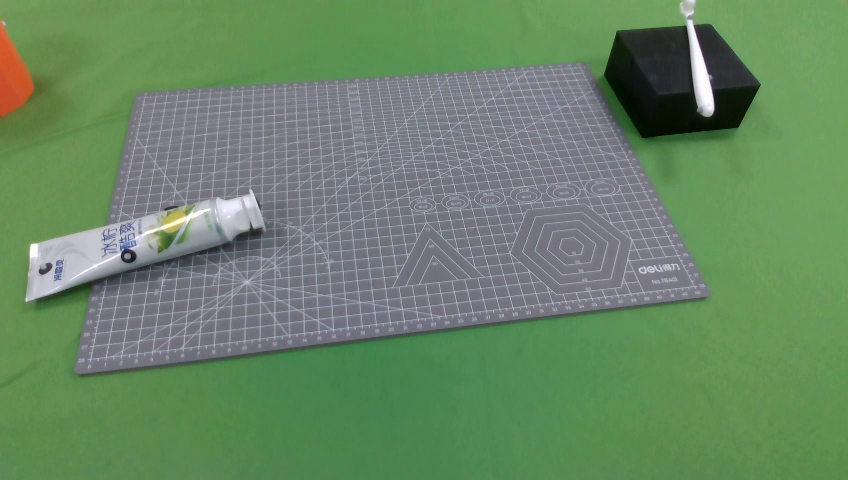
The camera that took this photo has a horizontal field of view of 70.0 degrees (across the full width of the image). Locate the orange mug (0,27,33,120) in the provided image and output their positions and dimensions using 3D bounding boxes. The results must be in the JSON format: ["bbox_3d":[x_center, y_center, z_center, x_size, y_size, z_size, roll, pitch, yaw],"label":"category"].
[{"bbox_3d":[-0.427,-0.155,0.528,0.083,0.101,0.126,27,50,19],"label":"orange mug"}]

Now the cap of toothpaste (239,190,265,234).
[{"bbox_3d":[-0.132,-0.021,0.465,0.011,0.037,0.037,-22,54,-19],"label":"cap of toothpaste"}]

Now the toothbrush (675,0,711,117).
[{"bbox_3d":[0.249,-0.175,0.561,0.014,0.017,0.180,10,52,3],"label":"toothbrush"}]

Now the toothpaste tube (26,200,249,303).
[{"bbox_3d":[-0.210,0.001,0.453,0.165,0.035,0.054,-16,48,-10],"label":"toothpaste tube"}]
